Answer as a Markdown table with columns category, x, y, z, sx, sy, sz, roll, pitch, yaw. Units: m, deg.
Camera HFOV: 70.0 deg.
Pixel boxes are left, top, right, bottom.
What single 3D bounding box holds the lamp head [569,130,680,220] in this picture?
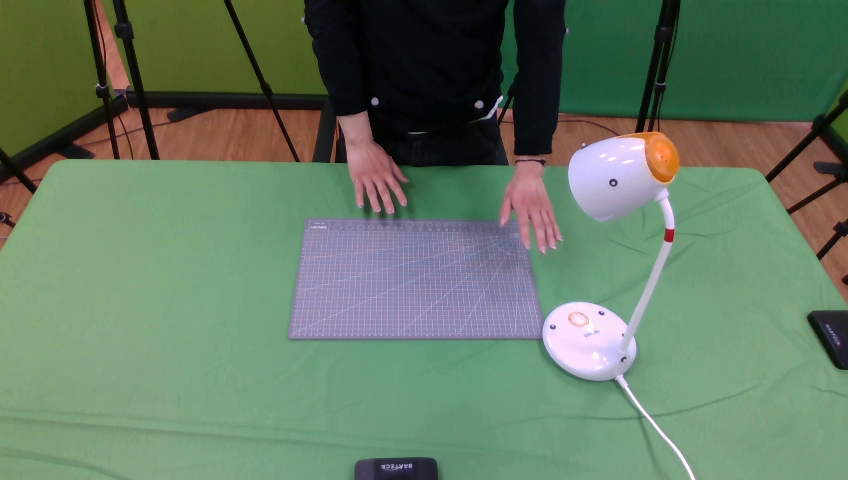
| category | x | y | z | sx | sy | sz | roll | pitch | yaw |
| --- | --- | --- | --- | --- | --- | --- | --- | --- | --- |
| lamp head | 0.272 | -0.089 | 0.798 | 0.113 | 0.122 | 0.112 | 7 | 78 | -33 |

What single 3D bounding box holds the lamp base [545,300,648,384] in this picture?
| category | x | y | z | sx | sy | sz | roll | pitch | yaw |
| --- | --- | --- | --- | --- | --- | --- | --- | --- | --- |
| lamp base | 0.299 | 0.124 | 0.983 | 0.161 | 0.181 | 0.178 | -23 | 55 | -23 |
